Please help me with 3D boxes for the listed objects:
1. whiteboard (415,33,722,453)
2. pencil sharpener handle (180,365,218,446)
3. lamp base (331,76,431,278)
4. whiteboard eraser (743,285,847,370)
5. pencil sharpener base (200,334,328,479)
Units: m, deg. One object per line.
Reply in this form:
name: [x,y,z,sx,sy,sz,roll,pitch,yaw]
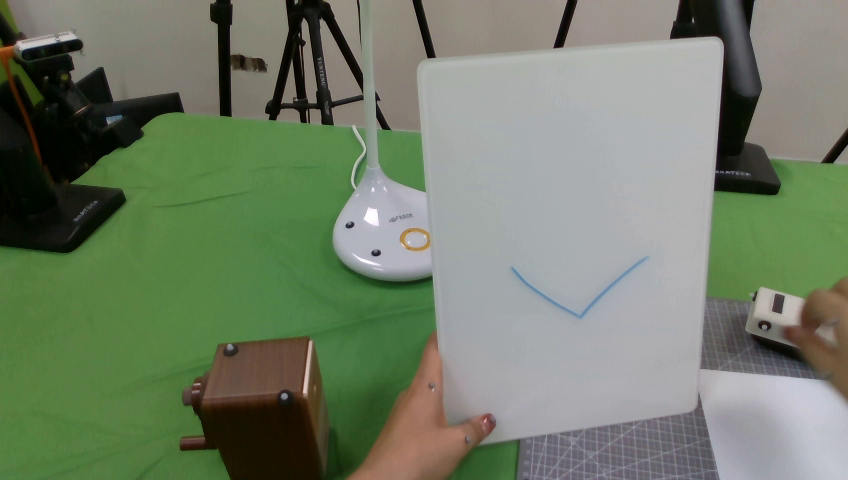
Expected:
whiteboard: [0.104,-0.006,0.516,0.217,0.307,0.143,-7,18,-6]
pencil sharpener handle: [-0.169,0.125,0.444,0.031,0.068,0.035,-4,25,-3]
lamp base: [-0.037,-0.077,0.666,0.161,0.182,0.177,-25,41,-28]
whiteboard eraser: [0.358,0.083,0.558,0.112,0.042,0.055,19,42,24]
pencil sharpener base: [-0.117,0.129,0.458,0.077,0.108,0.060,-4,38,-3]
